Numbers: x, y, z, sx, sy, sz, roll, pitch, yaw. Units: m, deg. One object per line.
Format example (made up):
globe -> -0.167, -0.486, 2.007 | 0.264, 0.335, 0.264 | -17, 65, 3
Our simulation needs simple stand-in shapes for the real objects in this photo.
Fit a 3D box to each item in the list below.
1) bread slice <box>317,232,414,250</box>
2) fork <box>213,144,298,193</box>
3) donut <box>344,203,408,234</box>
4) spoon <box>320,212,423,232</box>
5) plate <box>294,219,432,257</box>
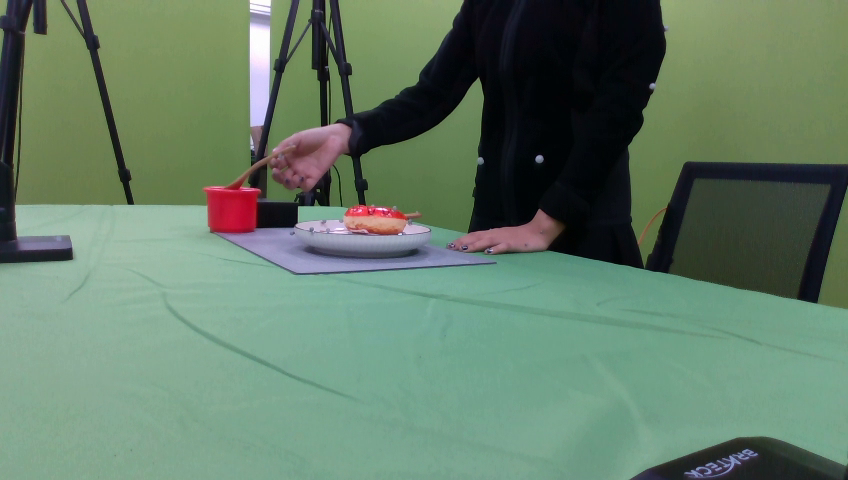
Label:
bread slice -> -0.093, 0.000, 0.915 | 0.132, 0.019, 0.104 | 0, 6, -26
fork -> -0.289, -0.119, 1.030 | 0.206, 0.018, 0.028 | -26, -20, 29
donut -> -0.074, -0.031, 0.931 | 0.099, 0.048, 0.099 | 4, 3, 0
spoon -> -0.083, -0.027, 1.005 | 0.194, 0.021, 0.041 | -17, 20, -30
plate -> -0.092, -0.003, 0.923 | 0.209, 0.038, 0.209 | 2, 7, 0
